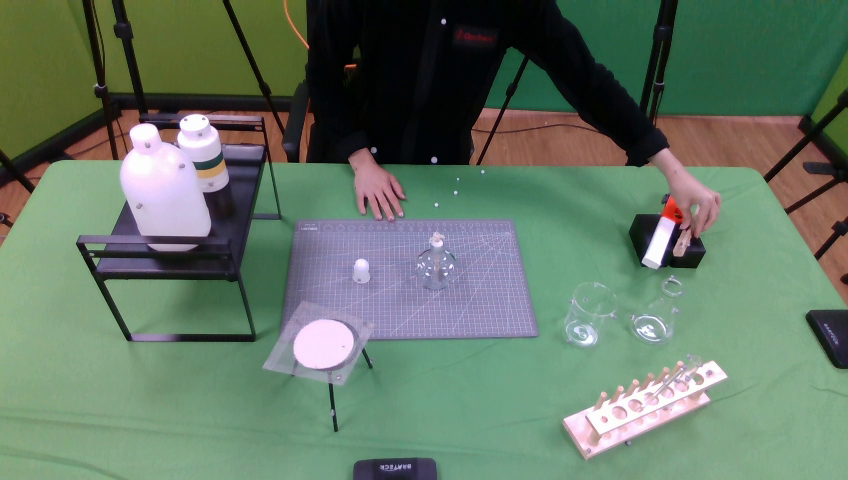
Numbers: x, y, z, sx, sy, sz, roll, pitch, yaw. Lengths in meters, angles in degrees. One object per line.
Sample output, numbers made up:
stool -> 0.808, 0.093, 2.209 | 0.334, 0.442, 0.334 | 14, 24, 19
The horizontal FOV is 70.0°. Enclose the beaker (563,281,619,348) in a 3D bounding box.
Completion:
beaker -> 0.283, 0.129, 1.041 | 0.074, 0.101, 0.083 | 11, 46, 7

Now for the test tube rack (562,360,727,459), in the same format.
test tube rack -> 0.341, 0.247, 0.940 | 0.243, 0.085, 0.066 | -16, 49, -18

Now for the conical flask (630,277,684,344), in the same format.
conical flask -> 0.408, 0.117, 1.045 | 0.075, 0.122, 0.075 | 2, 46, -2

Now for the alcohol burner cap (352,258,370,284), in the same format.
alcohol burner cap -> -0.117, 0.055, 1.118 | 0.034, 0.048, 0.033 | 1, 46, -1

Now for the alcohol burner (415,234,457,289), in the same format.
alcohol burner -> 0.022, 0.033, 1.100 | 0.078, 0.120, 0.077 | 1, 47, -1

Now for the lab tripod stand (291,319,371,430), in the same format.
lab tripod stand -> -0.146, 0.194, 0.923 | 0.148, 0.132, 0.147 | 1, 47, -1

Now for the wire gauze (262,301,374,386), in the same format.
wire gauze -> -0.150, 0.148, 0.873 | 0.121, 0.011, 0.124 | 14, 46, 12

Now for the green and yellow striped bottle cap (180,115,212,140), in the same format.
green and yellow striped bottle cap -> -0.358, -0.177, 0.951 | 0.045, 0.020, 0.045 | 1, 44, -1

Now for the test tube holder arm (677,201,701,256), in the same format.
test tube holder arm -> 0.523, -0.025, 1.191 | 0.013, 0.015, 0.178 | 2, 35, 38

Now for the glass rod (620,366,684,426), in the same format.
glass rod -> 0.322, 0.227, 0.866 | 0.008, 0.200, 0.008 | 6, 51, -7

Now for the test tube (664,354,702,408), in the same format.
test tube -> 0.385, 0.215, 0.906 | 0.017, 0.151, 0.017 | -1, 49, 1

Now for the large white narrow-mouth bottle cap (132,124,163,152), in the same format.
large white narrow-mouth bottle cap -> -0.371, -0.137, 0.812 | 0.038, 0.024, 0.037 | 3, 46, -3

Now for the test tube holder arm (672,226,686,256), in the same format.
test tube holder arm -> 0.495, 0.000, 1.165 | 0.010, 0.015, 0.087 | 3, 35, 39

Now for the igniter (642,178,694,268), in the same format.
igniter -> 0.488, -0.043, 1.205 | 0.057, 0.025, 0.276 | 30, 52, 11

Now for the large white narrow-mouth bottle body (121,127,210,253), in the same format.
large white narrow-mouth bottle body -> -0.378, -0.077, 0.875 | 0.102, 0.195, 0.101 | 3, 46, -3

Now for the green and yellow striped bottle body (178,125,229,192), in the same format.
green and yellow striped bottle body -> -0.361, -0.142, 0.989 | 0.063, 0.120, 0.063 | 2, 46, -2
